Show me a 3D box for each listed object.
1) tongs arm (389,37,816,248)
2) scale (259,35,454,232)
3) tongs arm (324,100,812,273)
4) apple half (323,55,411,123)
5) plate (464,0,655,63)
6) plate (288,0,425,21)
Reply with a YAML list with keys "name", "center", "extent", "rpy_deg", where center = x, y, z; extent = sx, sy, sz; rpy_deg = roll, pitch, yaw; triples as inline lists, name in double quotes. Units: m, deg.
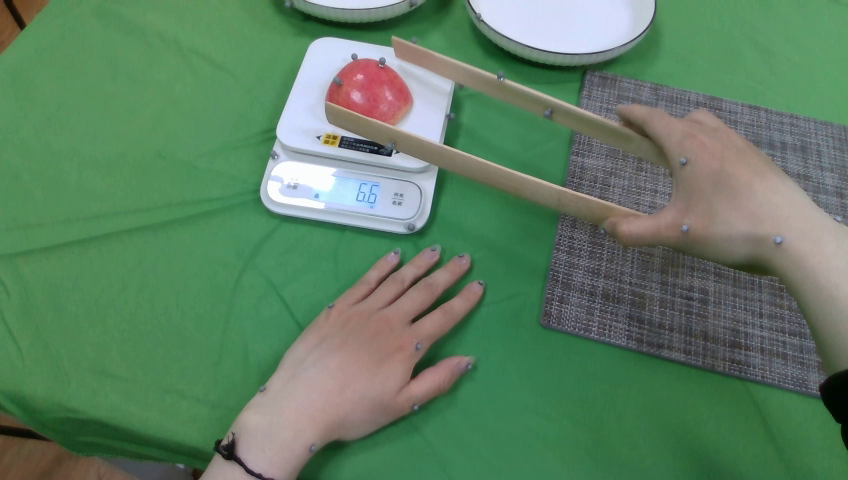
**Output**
- name: "tongs arm"
  center: [0.118, -0.088, 0.498]
  extent: [0.382, 0.027, 0.050]
  rpy_deg: [26, 59, 20]
- name: "scale"
  center: [-0.056, -0.104, 0.558]
  extent: [0.148, 0.032, 0.199]
  rpy_deg: [9, 59, 3]
- name: "tongs arm"
  center: [0.088, -0.048, 0.471]
  extent: [0.385, 0.028, 0.028]
  rpy_deg: [21, 54, 17]
- name: "apple half"
  center: [-0.050, -0.141, 0.545]
  extent: [0.081, 0.033, 0.080]
  rpy_deg: [1, 58, -2]
- name: "plate"
  center: [0.144, -0.263, 0.662]
  extent: [0.209, 0.038, 0.207]
  rpy_deg: [2, 58, -2]
- name: "plate"
  center: [-0.075, -0.313, 0.680]
  extent: [0.208, 0.039, 0.205]
  rpy_deg: [2, 59, -2]
